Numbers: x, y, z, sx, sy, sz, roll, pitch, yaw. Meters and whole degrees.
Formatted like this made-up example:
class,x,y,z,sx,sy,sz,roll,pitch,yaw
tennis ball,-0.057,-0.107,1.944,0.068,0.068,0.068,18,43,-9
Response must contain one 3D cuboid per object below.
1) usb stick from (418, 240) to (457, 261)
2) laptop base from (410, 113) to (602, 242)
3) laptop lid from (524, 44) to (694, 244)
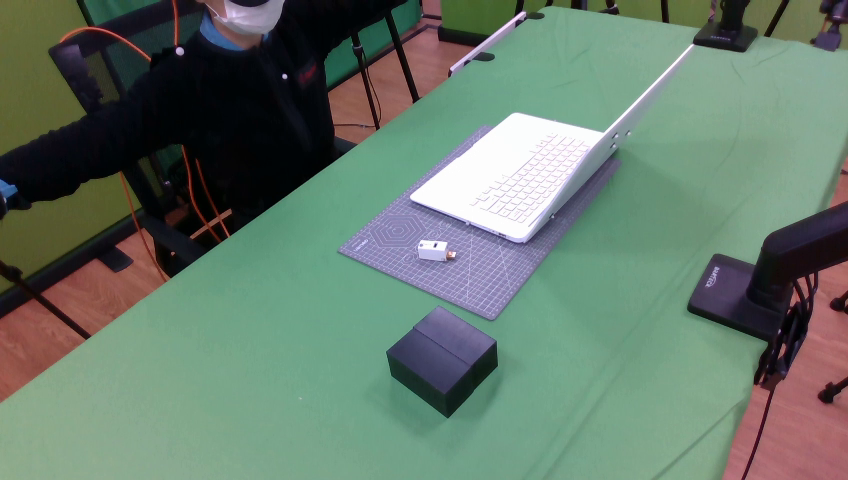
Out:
class,x,y,z,sx,sy,sz,roll,pitch,yaw
usb stick,0.021,0.017,0.938,0.059,0.027,0.021,8,42,13
laptop base,0.171,-0.127,1.096,0.233,0.023,0.355,21,47,34
laptop lid,0.290,-0.151,0.941,0.013,0.241,0.358,40,54,12
